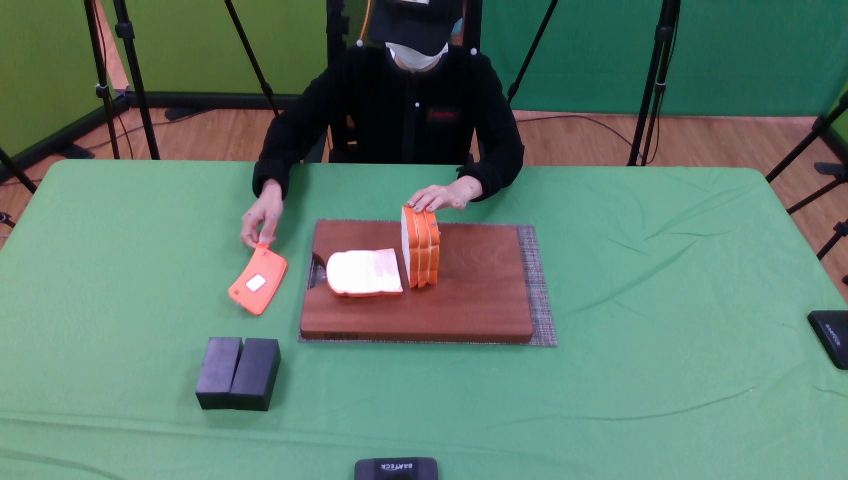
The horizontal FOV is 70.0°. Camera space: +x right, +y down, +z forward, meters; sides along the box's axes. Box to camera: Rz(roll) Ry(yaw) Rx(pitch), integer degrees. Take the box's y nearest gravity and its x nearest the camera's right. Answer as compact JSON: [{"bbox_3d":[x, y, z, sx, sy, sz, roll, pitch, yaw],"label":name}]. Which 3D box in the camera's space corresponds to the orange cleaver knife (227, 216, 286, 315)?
[{"bbox_3d":[-0.295,0.044,1.117,0.077,0.012,0.210,25,48,-15],"label":"orange cleaver knife"}]

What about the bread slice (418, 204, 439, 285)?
[{"bbox_3d":[0.007,0.004,1.080,0.018,0.135,0.106,-9,52,-10],"label":"bread slice"}]
